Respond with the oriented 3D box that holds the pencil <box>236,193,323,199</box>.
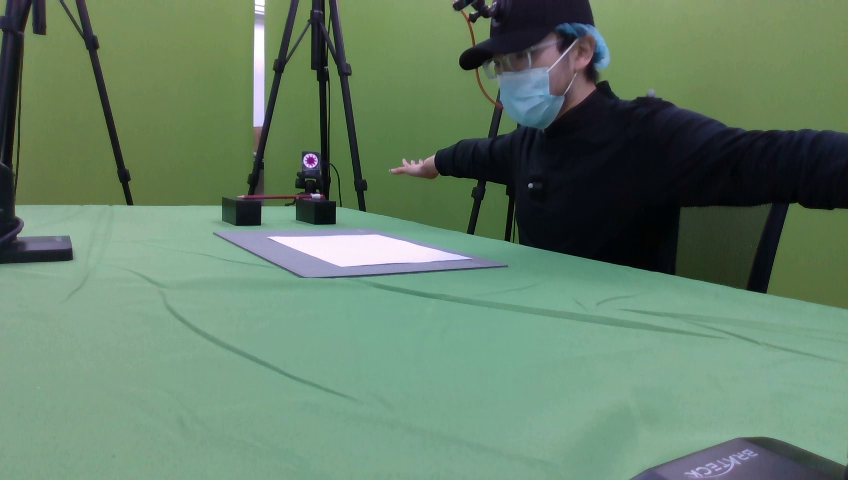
[{"bbox_3d":[-0.302,-0.092,1.280,0.195,0.012,0.012,-4,10,-36],"label":"pencil"}]
